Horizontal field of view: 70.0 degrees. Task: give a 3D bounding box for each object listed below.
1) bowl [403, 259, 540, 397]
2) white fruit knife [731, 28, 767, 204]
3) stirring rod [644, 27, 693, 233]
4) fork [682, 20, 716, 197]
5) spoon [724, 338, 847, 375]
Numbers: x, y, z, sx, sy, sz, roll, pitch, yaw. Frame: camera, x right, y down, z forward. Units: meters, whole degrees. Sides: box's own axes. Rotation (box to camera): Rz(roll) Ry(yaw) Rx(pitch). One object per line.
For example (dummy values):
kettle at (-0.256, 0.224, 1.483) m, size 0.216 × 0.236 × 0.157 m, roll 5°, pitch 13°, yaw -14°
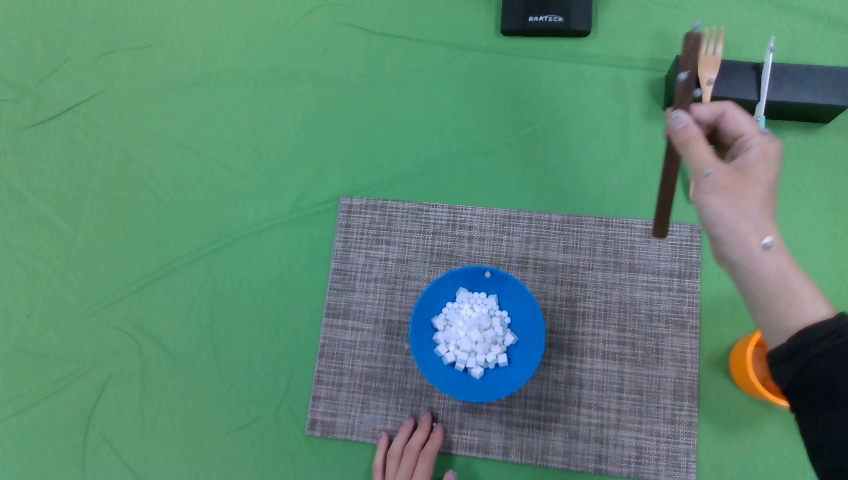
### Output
bowl at (0.055, 0.103, 0.697) m, size 0.151 × 0.077 × 0.150 m, roll -1°, pitch 77°, yaw 5°
white fruit knife at (0.389, -0.146, 0.719) m, size 0.016 × 0.027 × 0.207 m, roll 6°, pitch 95°, yaw 4°
stirring rod at (0.198, -0.082, 0.494) m, size 0.014 × 0.177 × 0.006 m, roll 8°, pitch 34°, yaw 19°
fork at (0.328, -0.155, 0.728) m, size 0.028 × 0.018 × 0.207 m, roll 3°, pitch 98°, yaw 3°
spoon at (0.413, 0.127, 0.627) m, size 0.022 × 0.192 × 0.041 m, roll 18°, pitch 75°, yaw -36°
